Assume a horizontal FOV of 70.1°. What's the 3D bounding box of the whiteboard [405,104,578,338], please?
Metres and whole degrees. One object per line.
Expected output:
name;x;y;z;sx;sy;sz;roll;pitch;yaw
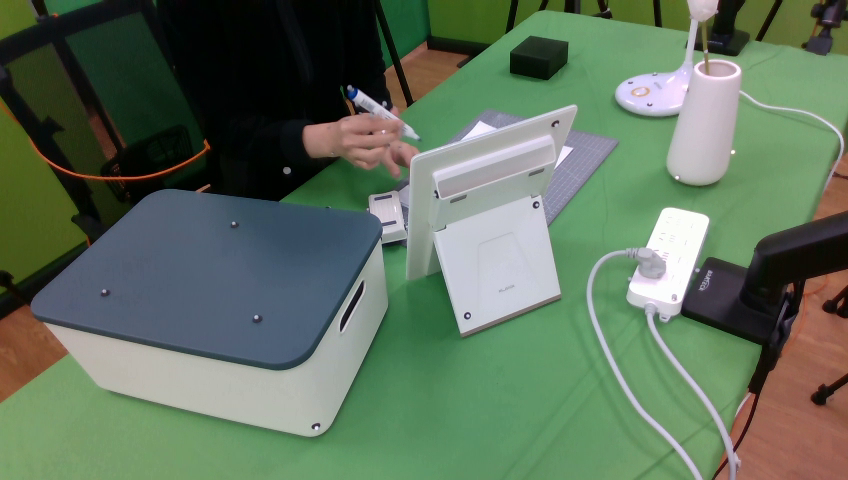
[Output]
whiteboard;0.102;0.003;0.787;0.218;0.306;0.143;-19;62;-14

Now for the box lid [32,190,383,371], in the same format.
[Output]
box lid;-0.257;0.032;0.750;0.370;0.015;0.263;7;41;16

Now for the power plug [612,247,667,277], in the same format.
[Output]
power plug;0.306;0.031;0.852;0.072;0.053;0.035;21;48;37

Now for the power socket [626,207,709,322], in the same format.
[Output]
power socket;0.360;0.026;0.886;0.072;0.033;0.227;16;46;27

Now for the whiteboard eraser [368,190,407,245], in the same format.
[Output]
whiteboard eraser;-0.061;-0.035;1.006;0.056;0.042;0.112;-9;40;-3

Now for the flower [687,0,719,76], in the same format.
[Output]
flower;0.436;-0.242;0.934;0.038;0.364;0.043;-24;49;8

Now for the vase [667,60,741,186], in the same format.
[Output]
vase;0.463;-0.189;0.994;0.098;0.201;0.097;-4;40;4

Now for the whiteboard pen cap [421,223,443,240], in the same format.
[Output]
whiteboard pen cap;0.013;-0.013;0.989;0.033;0.018;0.018;-31;46;-21

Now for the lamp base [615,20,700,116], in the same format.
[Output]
lamp base;0.484;-0.364;1.211;0.180;0.181;0.159;-15;41;-14

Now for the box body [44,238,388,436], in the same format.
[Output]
box body;-0.251;0.088;0.799;0.362;0.161;0.254;7;42;16

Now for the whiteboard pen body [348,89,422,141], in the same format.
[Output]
whiteboard pen body;-0.051;-0.171;0.847;0.017;0.142;0.017;-22;56;37
